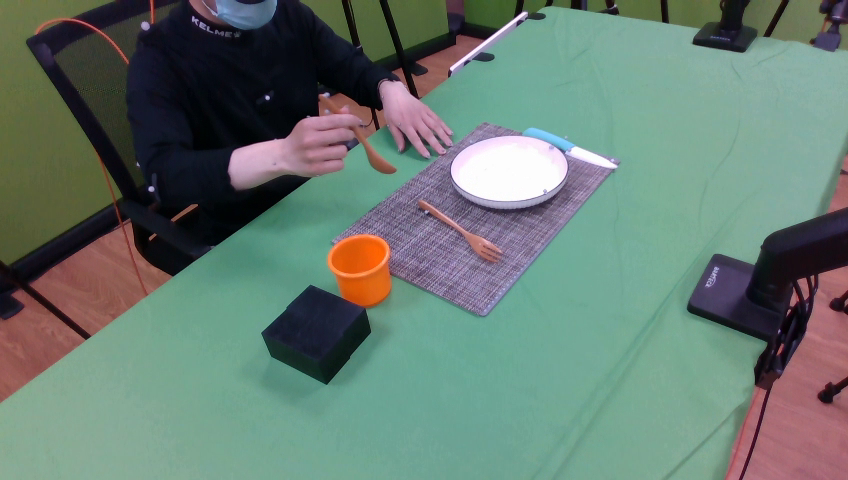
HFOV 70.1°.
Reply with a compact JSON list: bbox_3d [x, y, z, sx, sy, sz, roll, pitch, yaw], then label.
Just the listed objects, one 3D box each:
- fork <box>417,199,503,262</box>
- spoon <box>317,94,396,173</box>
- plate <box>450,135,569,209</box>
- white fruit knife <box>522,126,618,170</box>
[{"bbox_3d":[0.053,-0.021,0.981,0.019,0.028,0.205,1,26,-41],"label":"fork"},{"bbox_3d":[-0.102,-0.159,0.924,0.041,0.195,0.021,6,61,38],"label":"spoon"},{"bbox_3d":[0.149,-0.117,1.065,0.209,0.038,0.208,-3,41,3],"label":"plate"},{"bbox_3d":[0.272,-0.172,1.132,0.205,0.016,0.027,32,82,34],"label":"white fruit knife"}]
